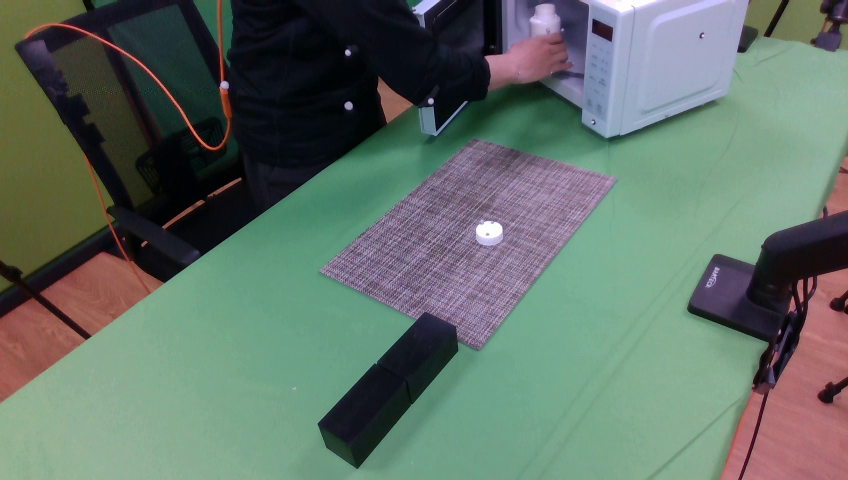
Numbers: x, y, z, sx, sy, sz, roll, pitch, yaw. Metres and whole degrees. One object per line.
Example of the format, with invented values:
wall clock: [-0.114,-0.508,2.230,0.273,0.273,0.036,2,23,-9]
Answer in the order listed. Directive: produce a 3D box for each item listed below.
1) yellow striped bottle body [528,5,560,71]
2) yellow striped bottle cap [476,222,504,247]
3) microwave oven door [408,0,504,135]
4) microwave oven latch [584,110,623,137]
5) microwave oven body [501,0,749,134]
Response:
yellow striped bottle body: [0.244,-0.412,1.231,0.063,0.121,0.062,-5,37,4]
yellow striped bottle cap: [0.105,-0.010,0.966,0.044,0.019,0.044,-3,39,3]
microwave oven door: [0.078,-0.411,1.241,0.039,0.245,0.356,15,46,24]
microwave oven latch: [0.337,-0.222,1.142,0.030,0.029,0.078,-21,42,-14]
microwave oven body: [0.381,-0.444,1.246,0.327,0.261,0.437,-22,42,-16]
